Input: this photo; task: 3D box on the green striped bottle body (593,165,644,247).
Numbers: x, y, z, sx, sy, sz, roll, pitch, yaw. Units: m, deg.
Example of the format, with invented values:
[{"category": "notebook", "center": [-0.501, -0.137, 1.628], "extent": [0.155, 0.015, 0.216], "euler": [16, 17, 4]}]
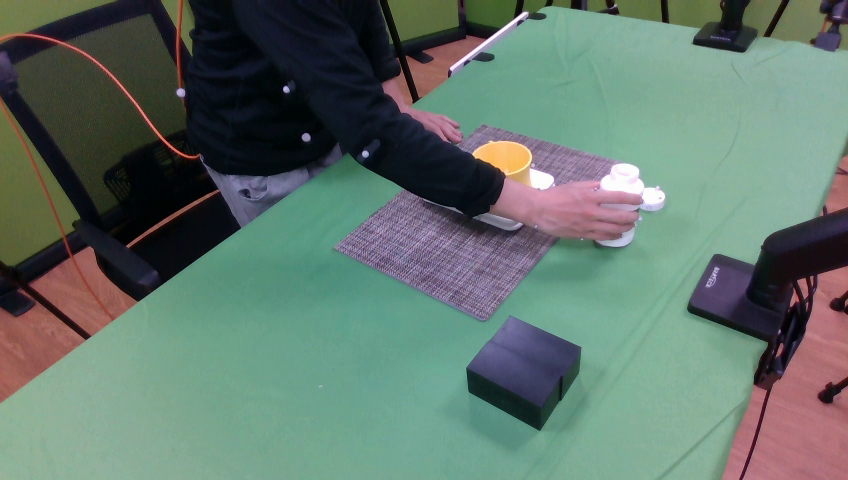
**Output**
[{"category": "green striped bottle body", "center": [0.293, -0.053, 0.910], "extent": [0.063, 0.119, 0.063], "euler": [-2, 37, 2]}]

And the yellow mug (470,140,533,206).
[{"category": "yellow mug", "center": [0.125, -0.121, 1.004], "extent": [0.100, 0.064, 0.130], "euler": [-13, 40, -5]}]

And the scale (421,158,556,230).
[{"category": "scale", "center": [0.110, -0.089, 1.042], "extent": [0.199, 0.032, 0.149], "euler": [23, 48, 31]}]

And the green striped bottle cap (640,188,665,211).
[{"category": "green striped bottle cap", "center": [0.375, -0.066, 0.998], "extent": [0.044, 0.020, 0.044], "euler": [-8, 38, 7]}]
